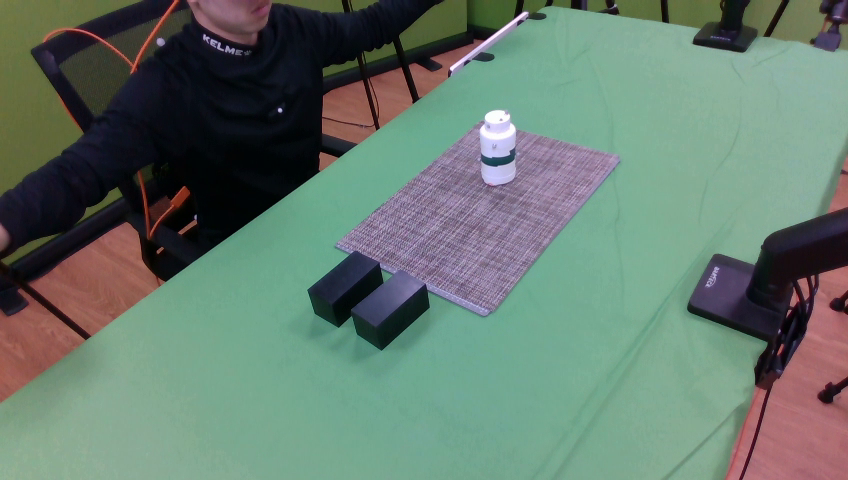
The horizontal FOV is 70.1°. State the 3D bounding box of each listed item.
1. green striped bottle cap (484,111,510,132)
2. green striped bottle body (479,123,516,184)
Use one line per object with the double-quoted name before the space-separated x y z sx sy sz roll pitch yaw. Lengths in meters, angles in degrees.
"green striped bottle cap" 0.123 -0.201 1.024 0.044 0.020 0.044 -3 39 3
"green striped bottle body" 0.129 -0.162 1.057 0.063 0.120 0.063 -4 41 4
